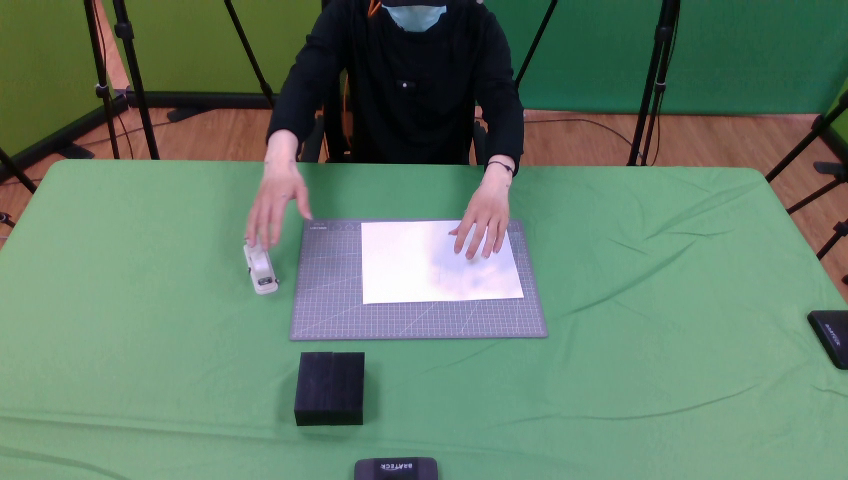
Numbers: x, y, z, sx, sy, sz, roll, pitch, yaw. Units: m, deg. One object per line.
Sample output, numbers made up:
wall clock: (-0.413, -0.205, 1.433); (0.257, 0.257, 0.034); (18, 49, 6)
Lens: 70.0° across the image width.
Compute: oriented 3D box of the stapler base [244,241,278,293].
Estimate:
stapler base: (-0.305, 0.044, 1.130); (0.041, 0.024, 0.129); (-13, 47, -19)

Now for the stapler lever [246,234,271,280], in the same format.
stapler lever: (-0.305, 0.026, 1.113); (0.027, 0.040, 0.117); (-13, 48, -19)
